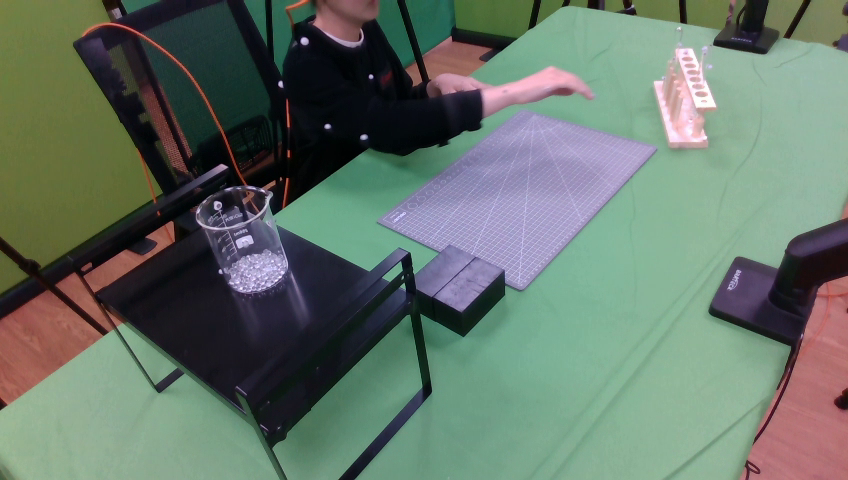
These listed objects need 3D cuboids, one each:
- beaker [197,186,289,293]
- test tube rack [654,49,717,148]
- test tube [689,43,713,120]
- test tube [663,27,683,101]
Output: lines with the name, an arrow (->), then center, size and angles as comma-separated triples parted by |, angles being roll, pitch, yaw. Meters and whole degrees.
beaker -> -0.192, 0.001, 0.666 | 0.084, 0.101, 0.073 | -33, 47, -27
test tube rack -> 0.502, -0.281, 1.176 | 0.066, 0.085, 0.241 | 1, 41, 11
test tube -> 0.506, -0.286, 1.106 | 0.017, 0.151, 0.017 | -4, 43, 4
test tube -> 0.486, -0.342, 1.181 | 0.017, 0.151, 0.017 | -4, 42, 4
